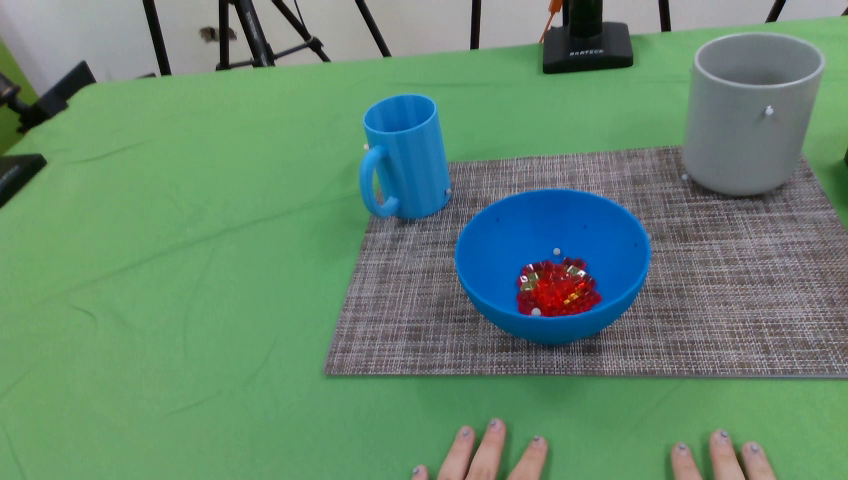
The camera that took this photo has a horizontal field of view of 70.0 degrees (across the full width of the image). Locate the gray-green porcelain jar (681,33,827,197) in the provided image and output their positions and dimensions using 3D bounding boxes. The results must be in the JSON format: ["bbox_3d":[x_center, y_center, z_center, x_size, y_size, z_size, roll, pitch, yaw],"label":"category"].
[{"bbox_3d":[0.303,-0.113,0.571,0.106,0.128,0.105,-7,42,7],"label":"gray-green porcelain jar"}]

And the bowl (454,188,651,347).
[{"bbox_3d":[0.103,0.034,0.495,0.151,0.077,0.150,-7,41,6],"label":"bowl"}]

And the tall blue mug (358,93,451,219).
[{"bbox_3d":[-0.019,-0.076,0.624,0.077,0.109,0.106,-1,43,11],"label":"tall blue mug"}]
